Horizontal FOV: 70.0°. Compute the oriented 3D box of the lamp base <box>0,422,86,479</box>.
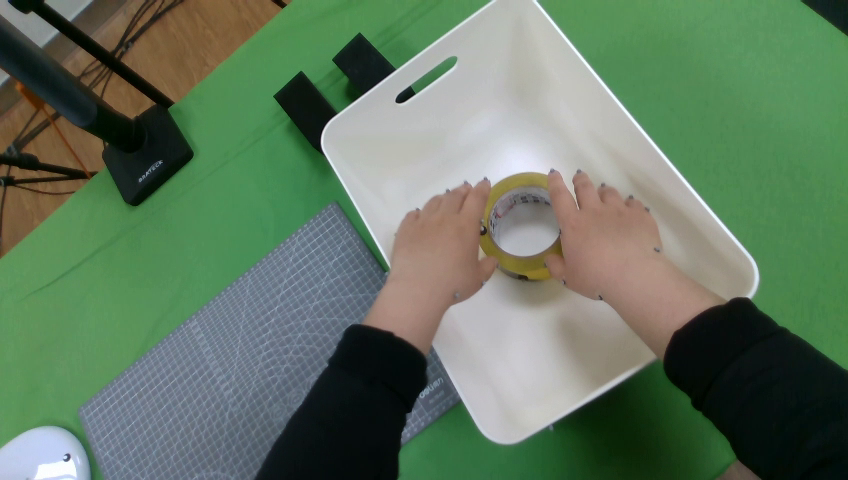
[{"bbox_3d":[-0.542,0.299,0.720,0.178,0.182,0.160,-1,75,20],"label":"lamp base"}]

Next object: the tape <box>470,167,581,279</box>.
[{"bbox_3d":[0.109,-0.018,0.659,0.116,0.053,0.116,-4,74,16],"label":"tape"}]

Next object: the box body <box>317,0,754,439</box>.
[{"bbox_3d":[0.095,-0.020,0.611,0.254,0.161,0.361,-34,68,7],"label":"box body"}]
